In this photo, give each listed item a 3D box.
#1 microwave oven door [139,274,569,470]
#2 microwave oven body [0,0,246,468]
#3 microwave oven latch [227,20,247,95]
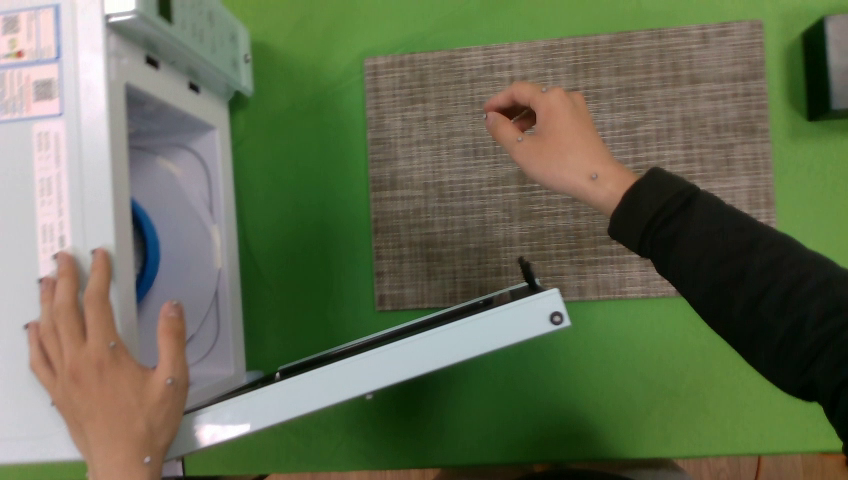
[{"bbox_3d":[-0.045,0.111,0.577,0.356,0.244,0.039,-21,85,6],"label":"microwave oven door"},{"bbox_3d":[-0.368,-0.024,0.623,0.326,0.260,0.441,-6,88,6],"label":"microwave oven body"},{"bbox_3d":[-0.227,-0.212,0.707,0.030,0.029,0.079,-5,89,6],"label":"microwave oven latch"}]
